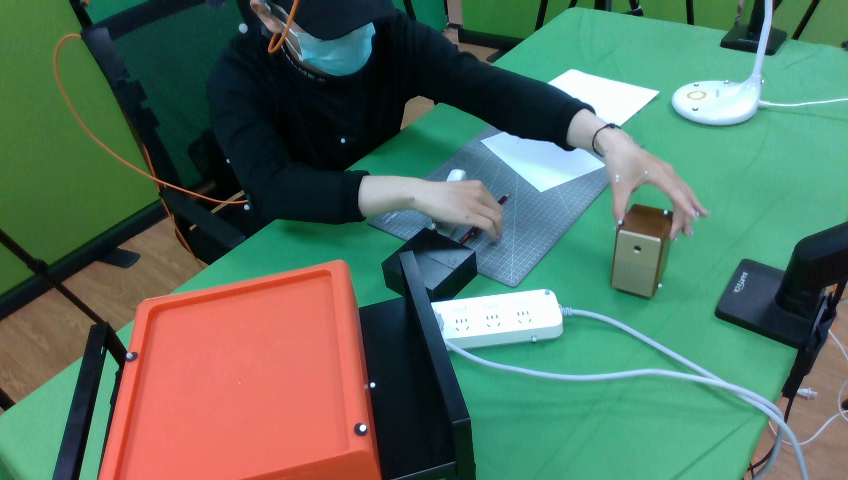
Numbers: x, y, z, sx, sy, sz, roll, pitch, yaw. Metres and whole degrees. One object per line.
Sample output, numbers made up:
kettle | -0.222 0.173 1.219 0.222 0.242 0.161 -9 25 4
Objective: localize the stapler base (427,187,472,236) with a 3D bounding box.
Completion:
stapler base | 0.045 -0.057 1.028 0.041 0.024 0.130 10 44 20

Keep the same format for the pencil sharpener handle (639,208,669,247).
pencil sharpener handle | 0.333 -0.024 0.862 0.035 0.068 0.031 -6 30 40

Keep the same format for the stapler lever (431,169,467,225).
stapler lever | 0.043 -0.075 1.010 0.026 0.040 0.118 9 44 21

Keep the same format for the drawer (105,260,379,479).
drawer | -0.150 0.127 0.525 0.195 0.073 0.210 -11 41 -5

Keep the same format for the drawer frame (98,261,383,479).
drawer frame | -0.148 0.129 0.519 0.202 0.083 0.212 -12 41 -6

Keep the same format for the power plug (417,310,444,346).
power plug | 0.006 0.122 0.785 0.035 0.053 0.072 0 40 9

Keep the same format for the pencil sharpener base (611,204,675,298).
pencil sharpener base | 0.304 0.014 0.839 0.061 0.107 0.077 15 42 27

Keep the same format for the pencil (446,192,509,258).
pencil | 0.093 -0.030 1.001 0.012 0.012 0.194 21 48 29

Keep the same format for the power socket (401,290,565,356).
power socket | 0.080 0.112 0.822 0.227 0.033 0.072 -6 41 0

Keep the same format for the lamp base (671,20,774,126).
lamp base | 0.581 -0.332 1.154 0.179 0.181 0.160 2 41 7

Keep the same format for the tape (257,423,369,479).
tape | -0.121 0.262 0.660 0.117 0.053 0.116 -4 40 4
